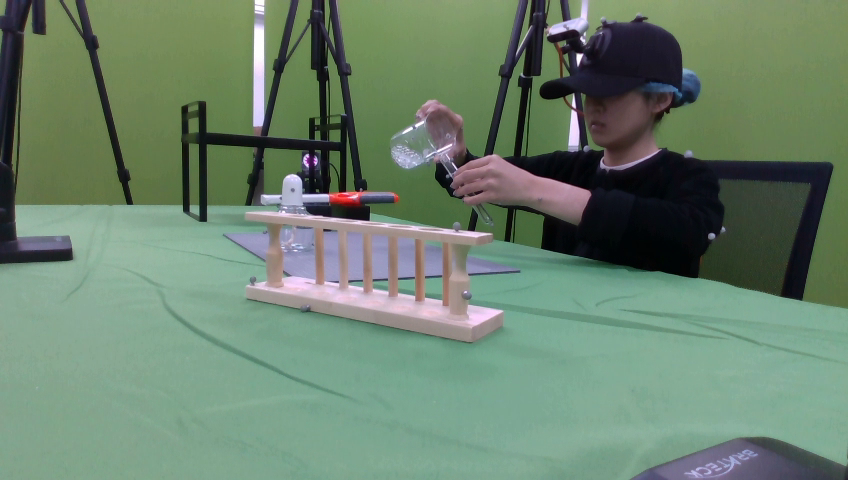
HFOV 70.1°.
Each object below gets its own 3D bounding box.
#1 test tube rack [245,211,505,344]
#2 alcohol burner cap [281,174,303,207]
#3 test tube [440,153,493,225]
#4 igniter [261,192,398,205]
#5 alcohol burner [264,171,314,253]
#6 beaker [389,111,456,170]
[{"bbox_3d":[-0.049,0.025,0.547,0.241,0.085,0.067,7,8,29],"label":"test tube rack"},{"bbox_3d":[-0.193,-0.072,0.884,0.034,0.048,0.034,1,5,0],"label":"alcohol burner cap"},{"bbox_3d":[0.067,-0.082,0.965,0.017,0.017,0.149,-5,53,-44],"label":"test tube"},{"bbox_3d":[-0.185,-0.083,1.217,0.278,0.025,0.057,-2,12,-25],"label":"igniter"},{"bbox_3d":[-0.194,-0.042,0.888,0.078,0.119,0.078,3,5,0],"label":"alcohol burner"},{"bbox_3d":[-0.005,-0.164,1.035,0.074,0.084,0.100,3,-14,-44],"label":"beaker"}]
